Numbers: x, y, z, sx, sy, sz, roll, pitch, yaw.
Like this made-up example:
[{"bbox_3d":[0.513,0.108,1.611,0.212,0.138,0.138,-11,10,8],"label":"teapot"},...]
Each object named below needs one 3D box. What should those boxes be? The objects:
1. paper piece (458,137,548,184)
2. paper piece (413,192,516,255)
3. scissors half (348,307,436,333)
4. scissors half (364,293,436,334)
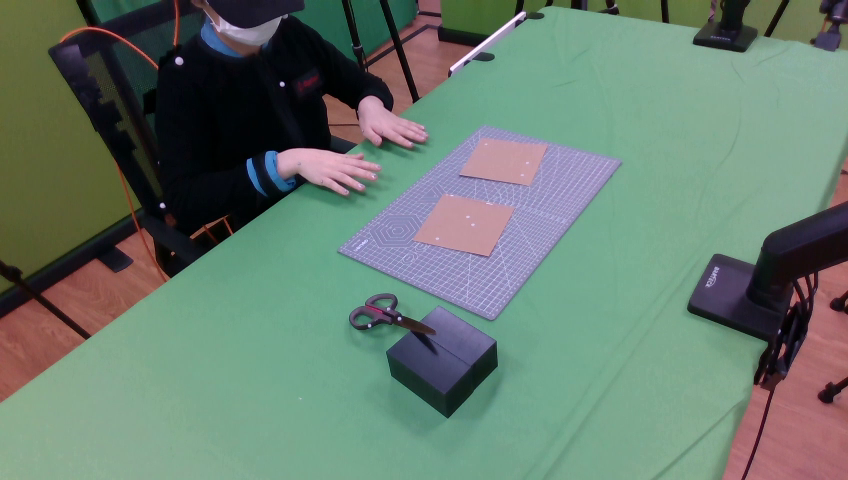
[{"bbox_3d":[0.150,-0.152,1.131,0.135,0.009,0.138,15,43,17],"label":"paper piece"},{"bbox_3d":[0.068,-0.030,1.000,0.134,0.004,0.136,12,44,23],"label":"paper piece"},{"bbox_3d":[-0.046,0.111,0.805,0.174,0.013,0.040,-1,33,45],"label":"scissors half"},{"bbox_3d":[-0.032,0.100,0.815,0.040,0.013,0.173,-40,28,-18],"label":"scissors half"}]
